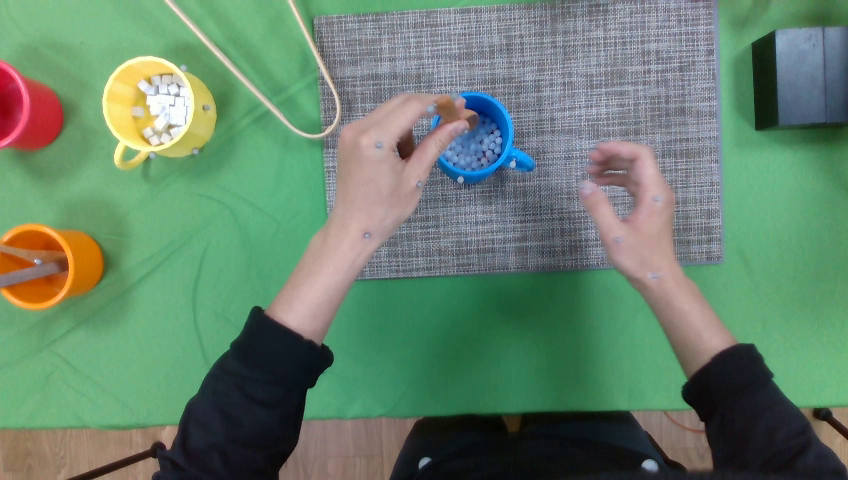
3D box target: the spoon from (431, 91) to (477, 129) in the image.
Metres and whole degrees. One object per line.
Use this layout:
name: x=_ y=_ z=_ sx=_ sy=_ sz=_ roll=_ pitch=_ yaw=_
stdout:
spoon: x=0.024 y=-0.106 z=0.504 sx=0.041 sy=0.193 sz=0.022 roll=-16 pitch=97 yaw=8

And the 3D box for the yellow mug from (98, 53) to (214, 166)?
yellow mug: x=-0.303 y=-0.136 z=0.671 sx=0.100 sy=0.064 sz=0.131 roll=36 pitch=95 yaw=-1

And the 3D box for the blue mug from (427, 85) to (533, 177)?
blue mug: x=0.061 y=-0.105 z=0.642 sx=0.116 sy=0.106 sz=0.082 roll=23 pitch=93 yaw=0

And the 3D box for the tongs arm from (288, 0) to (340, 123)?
tongs arm: x=-0.181 y=-0.309 z=0.656 sx=0.028 sy=0.027 sz=0.389 roll=-28 pitch=99 yaw=-6

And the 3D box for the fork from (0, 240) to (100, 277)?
fork: x=-0.454 y=0.002 z=0.641 sx=0.209 sy=0.018 sz=0.028 roll=25 pitch=89 yaw=-43

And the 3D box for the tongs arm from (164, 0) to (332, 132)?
tongs arm: x=-0.249 y=-0.259 z=0.658 sx=0.051 sy=0.026 sz=0.386 roll=-42 pitch=99 yaw=0

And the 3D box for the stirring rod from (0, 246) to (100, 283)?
stirring rod: x=-0.443 y=0.036 z=0.649 sx=0.176 sy=0.006 sz=0.014 roll=-20 pitch=89 yaw=-39
